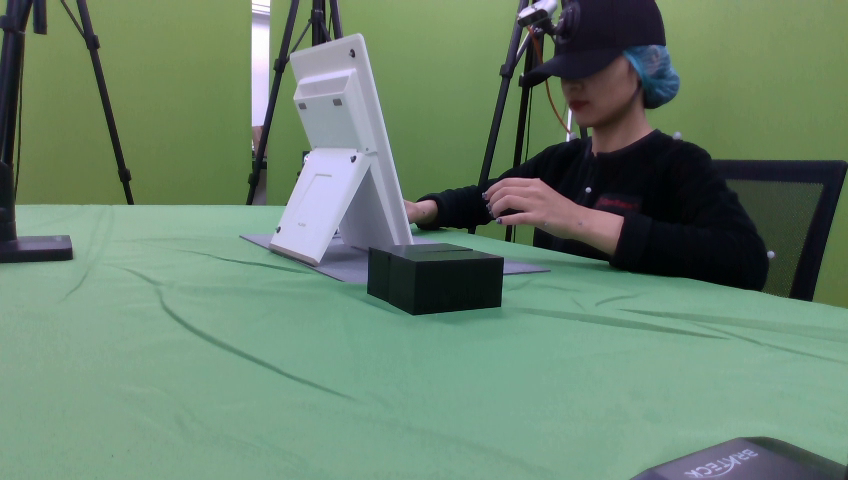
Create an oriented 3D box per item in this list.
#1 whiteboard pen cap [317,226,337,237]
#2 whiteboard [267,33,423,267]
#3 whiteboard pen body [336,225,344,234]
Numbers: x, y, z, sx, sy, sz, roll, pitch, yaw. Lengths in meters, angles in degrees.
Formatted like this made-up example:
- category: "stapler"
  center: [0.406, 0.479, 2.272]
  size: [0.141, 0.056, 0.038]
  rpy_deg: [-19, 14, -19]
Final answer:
- category: "whiteboard pen cap"
  center: [-0.167, -0.015, 1.047]
  size: [0.033, 0.018, 0.018]
  rpy_deg: [-10, 13, -41]
- category: "whiteboard"
  center: [-0.153, -0.098, 0.819]
  size: [0.144, 0.305, 0.216]
  rpy_deg: [-25, 21, -29]
- category: "whiteboard pen body"
  center: [-0.123, -0.024, 1.087]
  size: [0.141, 0.017, 0.017]
  rpy_deg: [-13, 15, -41]
